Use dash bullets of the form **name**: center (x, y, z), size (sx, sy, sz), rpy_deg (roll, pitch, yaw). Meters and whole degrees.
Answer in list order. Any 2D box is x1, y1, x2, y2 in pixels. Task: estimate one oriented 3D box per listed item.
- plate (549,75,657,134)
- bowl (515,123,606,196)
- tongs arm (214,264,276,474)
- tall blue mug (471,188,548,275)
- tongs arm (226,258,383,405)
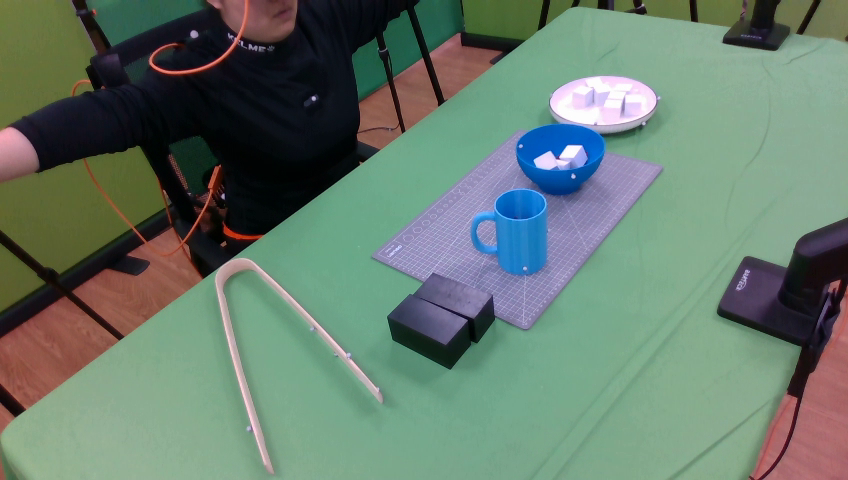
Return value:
- **plate**: center (0.357, -0.269, 1.220), size (0.209, 0.038, 0.208), rpy_deg (-5, 41, 5)
- **bowl**: center (0.235, -0.131, 1.045), size (0.151, 0.077, 0.150), rpy_deg (-5, 40, 5)
- **tongs arm**: center (-0.252, 0.158, 0.838), size (0.028, 0.028, 0.384), rpy_deg (-27, 43, -8)
- **tall blue mug**: center (0.131, -0.007, 0.893), size (0.107, 0.108, 0.077), rpy_deg (-20, 42, -11)
- **tongs arm**: center (-0.185, 0.121, 0.863), size (0.051, 0.027, 0.381), rpy_deg (-34, 45, -20)
